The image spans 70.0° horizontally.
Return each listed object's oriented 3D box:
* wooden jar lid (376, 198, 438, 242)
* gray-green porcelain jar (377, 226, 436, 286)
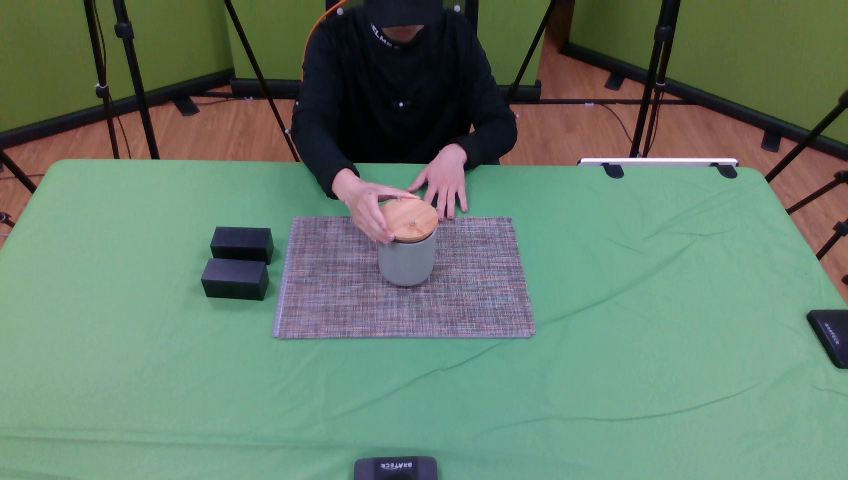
[{"bbox_3d":[-0.030,-0.033,1.054,0.108,0.021,0.107,2,42,-1],"label":"wooden jar lid"},{"bbox_3d":[-0.033,0.014,1.106,0.106,0.127,0.105,2,46,-2],"label":"gray-green porcelain jar"}]
